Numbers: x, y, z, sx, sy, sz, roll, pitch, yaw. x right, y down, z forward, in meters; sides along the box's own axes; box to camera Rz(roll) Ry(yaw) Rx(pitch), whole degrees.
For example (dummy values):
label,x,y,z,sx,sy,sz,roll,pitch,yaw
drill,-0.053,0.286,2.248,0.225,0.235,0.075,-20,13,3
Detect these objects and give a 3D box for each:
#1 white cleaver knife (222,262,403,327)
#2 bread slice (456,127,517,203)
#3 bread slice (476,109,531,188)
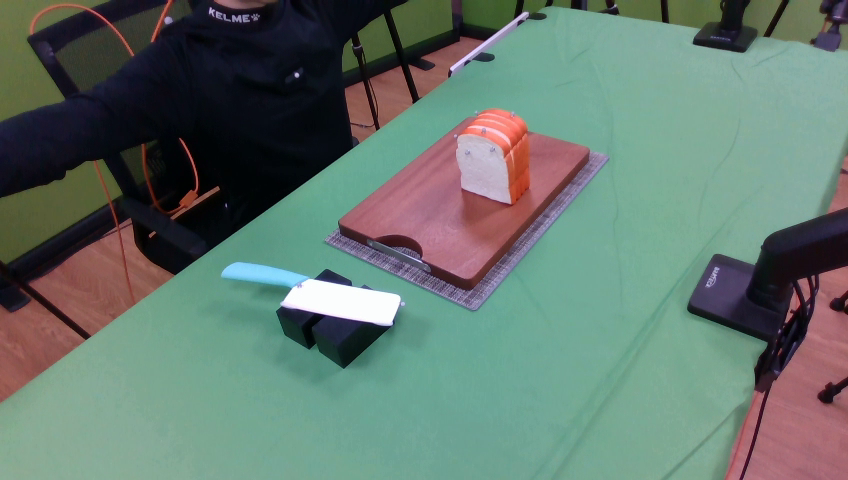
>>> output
label,x,y,z,sx,sy,sz,roll,pitch,yaw
white cleaver knife,-0.165,0.072,0.844,0.285,0.021,0.066,9,43,20
bread slice,0.097,-0.121,0.969,0.104,0.132,0.019,20,54,30
bread slice,0.130,-0.152,0.999,0.106,0.135,0.018,23,49,28
